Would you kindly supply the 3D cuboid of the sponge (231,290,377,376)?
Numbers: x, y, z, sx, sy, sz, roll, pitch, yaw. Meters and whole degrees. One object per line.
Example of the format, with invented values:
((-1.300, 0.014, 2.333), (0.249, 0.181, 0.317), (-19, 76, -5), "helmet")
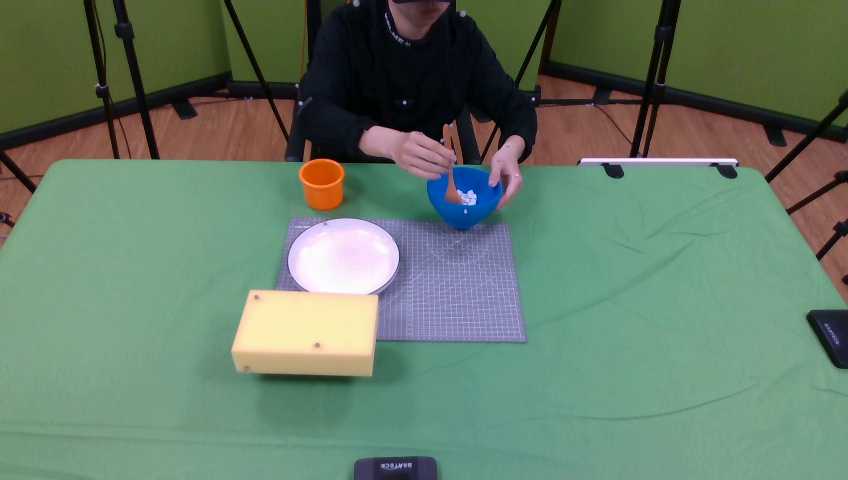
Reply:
((-0.180, 0.144, 0.949), (0.207, 0.061, 0.117), (2, 46, -2), "sponge")

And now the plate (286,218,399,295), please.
((-0.150, 0.041, 1.131), (0.209, 0.038, 0.208), (2, 46, -2), "plate")

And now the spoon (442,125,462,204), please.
((0.046, -0.126, 1.125), (0.041, 0.195, 0.021), (5, 36, 17), "spoon")

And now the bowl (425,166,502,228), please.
((0.075, -0.076, 1.202), (0.151, 0.077, 0.150), (2, 36, -2), "bowl")
